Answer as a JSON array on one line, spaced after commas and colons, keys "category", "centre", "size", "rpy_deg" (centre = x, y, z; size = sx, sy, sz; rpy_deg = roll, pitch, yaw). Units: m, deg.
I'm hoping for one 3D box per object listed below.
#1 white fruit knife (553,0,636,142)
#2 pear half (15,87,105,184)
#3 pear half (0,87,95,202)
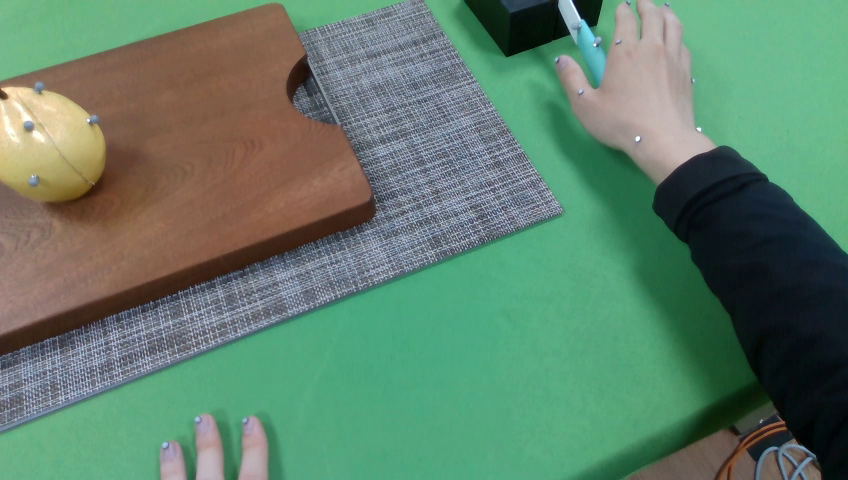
[{"category": "white fruit knife", "centre": [0.138, -0.182, 0.539], "size": [0.016, 0.027, 0.206], "rpy_deg": [-19, 74, -13]}, {"category": "pear half", "centre": [-0.264, -0.084, 0.454], "size": [0.031, 0.089, 0.070], "rpy_deg": [-35, 60, -19]}, {"category": "pear half", "centre": [-0.293, -0.072, 0.436], "size": [0.056, 0.111, 0.075], "rpy_deg": [-36, 59, -18]}]
